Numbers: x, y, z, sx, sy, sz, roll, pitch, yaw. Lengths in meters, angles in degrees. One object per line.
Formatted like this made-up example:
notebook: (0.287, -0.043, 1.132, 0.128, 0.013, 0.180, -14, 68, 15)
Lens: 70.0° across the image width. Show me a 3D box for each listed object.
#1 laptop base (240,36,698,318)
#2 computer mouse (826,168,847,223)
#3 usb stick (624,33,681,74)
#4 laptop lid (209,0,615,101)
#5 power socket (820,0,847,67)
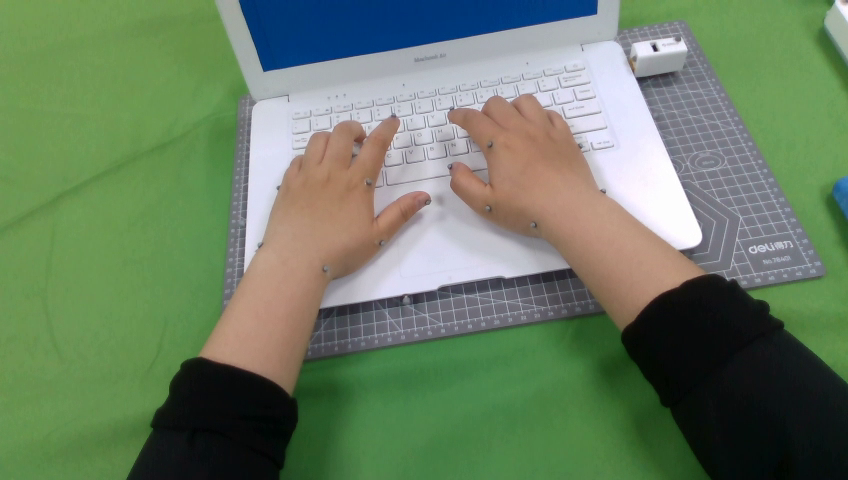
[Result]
laptop base: (0.020, -0.063, 0.520, 0.354, 0.023, 0.233, -10, 60, 1)
computer mouse: (0.345, -0.014, 0.431, 0.063, 0.041, 0.116, -10, 51, 4)
usb stick: (0.198, -0.167, 0.548, 0.059, 0.027, 0.021, -10, 56, 5)
laptop lid: (-0.012, -0.244, 0.502, 0.357, 0.244, 0.013, -11, 44, 2)
power socket: (0.410, -0.139, 0.507, 0.072, 0.033, 0.224, -6, 57, 4)
